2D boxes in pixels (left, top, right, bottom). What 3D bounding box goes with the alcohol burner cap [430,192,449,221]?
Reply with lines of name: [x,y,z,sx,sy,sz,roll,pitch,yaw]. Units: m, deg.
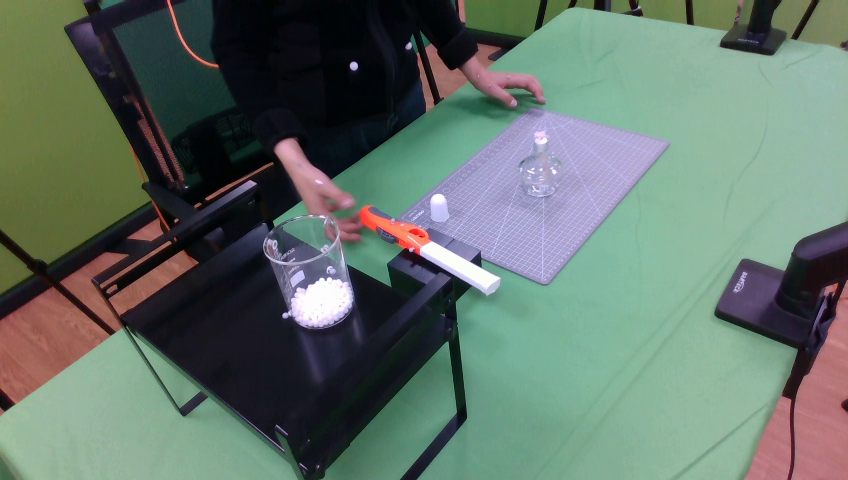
alcohol burner cap: [0.025,-0.059,1.020,0.034,0.048,0.033,-4,41,4]

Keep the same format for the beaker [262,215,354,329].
beaker: [-0.112,0.034,0.616,0.073,0.101,0.084,13,44,23]

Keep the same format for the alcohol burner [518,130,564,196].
alcohol burner: [0.199,-0.135,1.027,0.078,0.119,0.077,-5,42,5]

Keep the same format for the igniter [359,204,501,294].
igniter: [-0.003,0.006,0.892,0.274,0.025,0.057,29,41,34]
